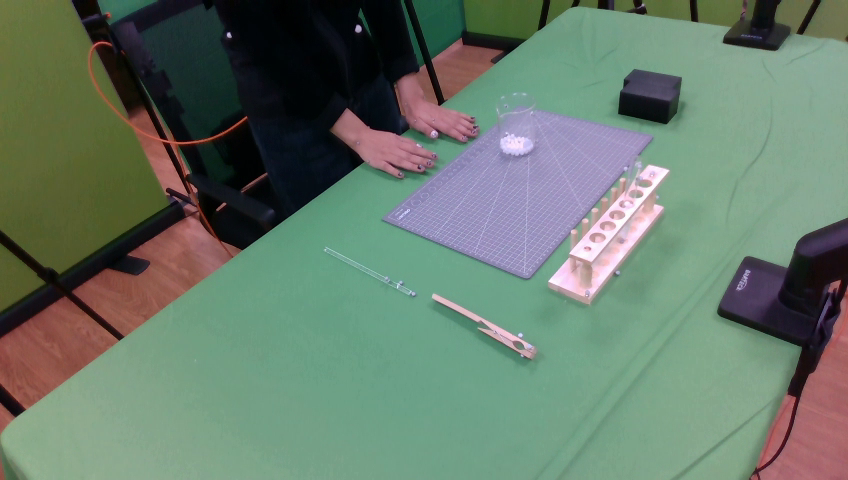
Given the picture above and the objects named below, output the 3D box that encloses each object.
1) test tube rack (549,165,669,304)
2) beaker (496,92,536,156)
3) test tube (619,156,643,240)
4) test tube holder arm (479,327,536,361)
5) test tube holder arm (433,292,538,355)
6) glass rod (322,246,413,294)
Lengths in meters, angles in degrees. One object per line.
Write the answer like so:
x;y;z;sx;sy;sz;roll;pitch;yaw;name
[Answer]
0.279;-0.018;0.902;0.066;0.085;0.243;24;50;33;test tube rack
0.172;-0.214;1.137;0.084;0.101;0.073;-36;46;-27;beaker
0.296;-0.056;0.866;0.017;0.151;0.017;-4;44;4;test tube
0.110;0.134;0.805;0.087;0.015;0.010;29;83;36;test tube holder arm
0.081;0.112;0.832;0.177;0.015;0.013;28;82;36;test tube holder arm
-0.093;0.045;0.956;0.198;0.008;0.008;24;51;33;glass rod
